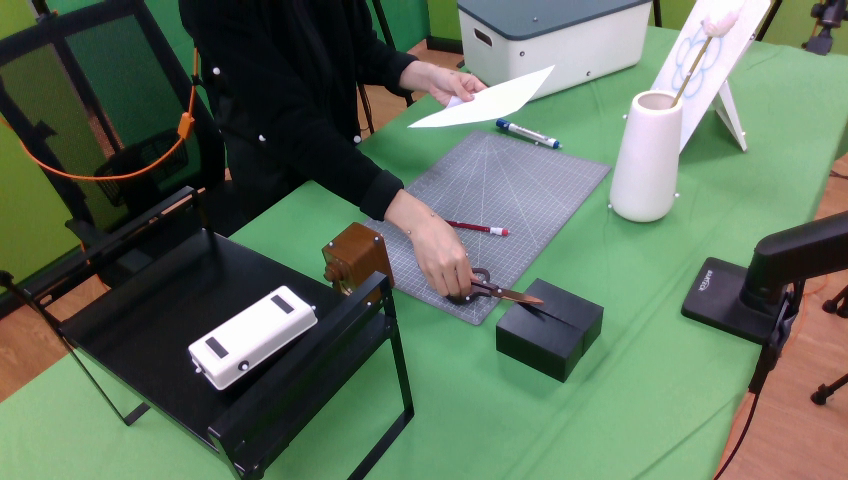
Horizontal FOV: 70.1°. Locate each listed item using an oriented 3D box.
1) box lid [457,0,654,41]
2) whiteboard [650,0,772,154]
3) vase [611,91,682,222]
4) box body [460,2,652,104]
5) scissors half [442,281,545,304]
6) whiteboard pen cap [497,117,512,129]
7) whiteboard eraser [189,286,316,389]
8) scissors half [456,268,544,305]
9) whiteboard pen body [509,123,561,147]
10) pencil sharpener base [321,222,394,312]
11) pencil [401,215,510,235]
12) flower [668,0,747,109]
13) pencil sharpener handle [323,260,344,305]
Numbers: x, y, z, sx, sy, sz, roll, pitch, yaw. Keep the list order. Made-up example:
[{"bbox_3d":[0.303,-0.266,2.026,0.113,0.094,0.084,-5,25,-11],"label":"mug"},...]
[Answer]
[{"bbox_3d":[0.285,-0.522,1.323,0.373,0.015,0.261,-22,43,-16],"label":"box lid"},{"bbox_3d":[0.543,-0.298,1.076,0.144,0.305,0.216,12,40,-7],"label":"whiteboard"},{"bbox_3d":[0.348,-0.125,0.935,0.098,0.201,0.097,-3,40,3],"label":"vase"},{"bbox_3d":[0.291,-0.465,1.371,0.365,0.161,0.252,-22,42,-16],"label":"box body"},{"bbox_3d":[0.091,0.076,0.831,0.174,0.013,0.040,2,32,42],"label":"scissors half"},{"bbox_3d":[0.165,-0.236,1.226,0.033,0.018,0.018,33,54,31],"label":"whiteboard pen cap"},{"bbox_3d":[-0.166,0.096,0.593,0.113,0.042,0.055,-36,47,-29],"label":"whiteboard eraser"},{"bbox_3d":[0.105,0.066,0.841,0.040,0.013,0.173,-37,29,-22],"label":"scissors half"},{"bbox_3d":[0.209,-0.211,1.195,0.139,0.017,0.017,29,52,33],"label":"whiteboard pen body"},{"bbox_3d":[-0.096,0.041,0.873,0.061,0.107,0.077,26,54,32],"label":"pencil sharpener base"},{"bbox_3d":[0.049,-0.027,1.007,0.193,0.012,0.012,10,43,21],"label":"pencil"},{"bbox_3d":[0.354,-0.187,0.879,0.038,0.362,0.044,30,48,14],"label":"flower"},{"bbox_3d":[-0.131,0.062,0.839,0.035,0.068,0.031,29,55,28],"label":"pencil sharpener handle"}]
